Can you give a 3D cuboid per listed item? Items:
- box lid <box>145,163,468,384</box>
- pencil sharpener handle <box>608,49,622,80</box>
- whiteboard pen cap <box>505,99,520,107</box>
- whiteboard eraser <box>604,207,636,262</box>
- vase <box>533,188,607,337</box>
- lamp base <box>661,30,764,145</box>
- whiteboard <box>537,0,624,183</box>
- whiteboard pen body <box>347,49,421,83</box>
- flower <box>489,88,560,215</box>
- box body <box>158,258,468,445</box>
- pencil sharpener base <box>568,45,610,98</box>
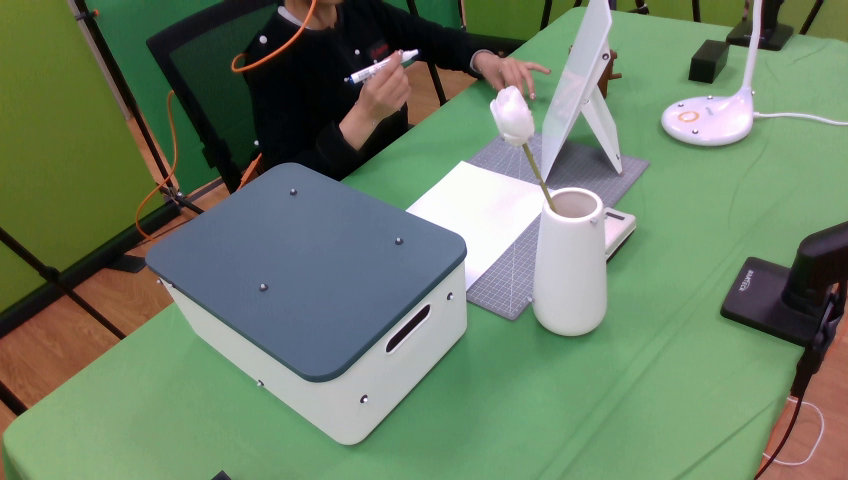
[{"bbox_3d":[-0.157,0.014,0.769,0.368,0.015,0.264,25,51,33],"label":"box lid"},{"bbox_3d":[0.394,-0.368,1.253,0.030,0.068,0.036,-8,32,1],"label":"pencil sharpener handle"},{"bbox_3d":[0.187,-0.291,1.283,0.033,0.018,0.018,-12,36,-36],"label":"whiteboard pen cap"},{"bbox_3d":[0.272,-0.003,0.919,0.055,0.042,0.113,27,51,32],"label":"whiteboard eraser"},{"bbox_3d":[0.187,0.033,0.771,0.098,0.201,0.097,-6,41,6],"label":"vase"},{"bbox_3d":[0.535,-0.287,1.096,0.179,0.181,0.159,-10,40,-4],"label":"lamp base"},{"bbox_3d":[0.316,-0.256,1.047,0.144,0.306,0.216,15,42,-1],"label":"whiteboard"},{"bbox_3d":[-0.069,-0.311,1.072,0.141,0.017,0.017,-24,42,-3],"label":"whiteboard pen body"},{"bbox_3d":[0.158,-0.027,0.720,0.038,0.364,0.044,-14,44,23],"label":"flower"},{"bbox_3d":[-0.147,0.072,0.816,0.361,0.161,0.255,24,50,33],"label":"box body"},{"bbox_3d":[0.345,-0.352,1.263,0.077,0.107,0.061,-8,40,1],"label":"pencil sharpener base"}]
